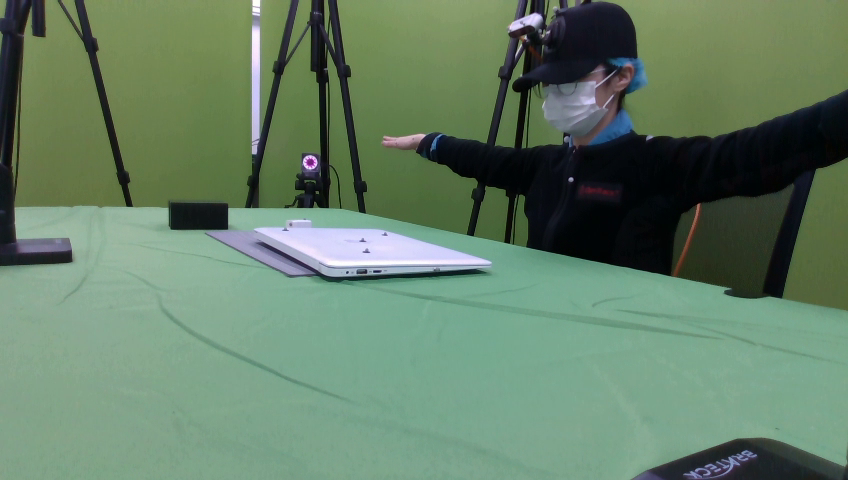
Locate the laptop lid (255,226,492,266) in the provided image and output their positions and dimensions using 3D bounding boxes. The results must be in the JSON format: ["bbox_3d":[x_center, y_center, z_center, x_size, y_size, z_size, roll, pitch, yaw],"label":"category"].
[{"bbox_3d":[-0.092,0.003,0.888,0.243,0.013,0.355,1,8,-28],"label":"laptop lid"}]

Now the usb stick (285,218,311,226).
[{"bbox_3d":[-0.235,-0.025,1.102,0.021,0.027,0.059,9,13,37],"label":"usb stick"}]

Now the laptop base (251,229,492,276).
[{"bbox_3d":[-0.094,0.015,0.889,0.237,0.023,0.352,2,7,-30],"label":"laptop base"}]
